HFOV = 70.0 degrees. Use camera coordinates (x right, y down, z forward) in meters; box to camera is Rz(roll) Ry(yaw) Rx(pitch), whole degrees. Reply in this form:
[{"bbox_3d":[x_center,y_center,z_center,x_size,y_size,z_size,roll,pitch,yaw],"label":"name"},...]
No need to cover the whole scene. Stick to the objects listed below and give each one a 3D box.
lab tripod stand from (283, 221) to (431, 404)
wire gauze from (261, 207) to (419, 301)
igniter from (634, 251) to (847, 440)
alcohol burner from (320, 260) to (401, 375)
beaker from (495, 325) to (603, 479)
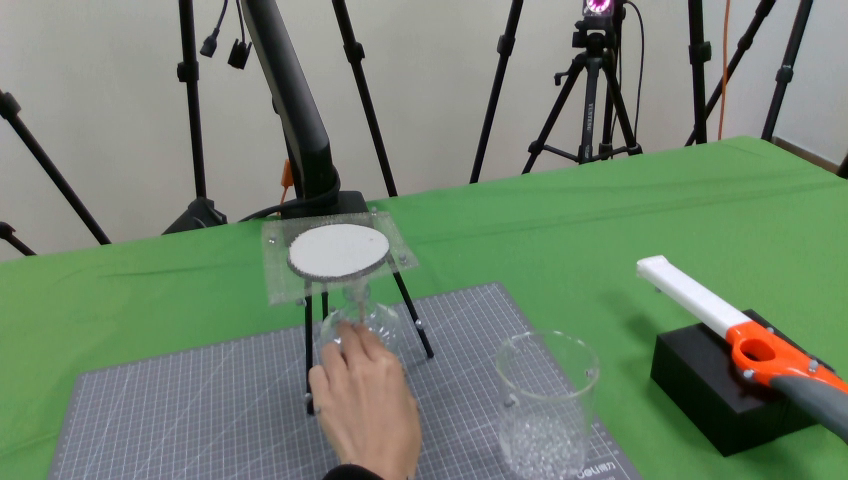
[{"bbox_3d":[-0.069,0.058,0.560,0.148,0.132,0.147,-2,30,1],"label":"lab tripod stand"},{"bbox_3d":[-0.077,0.003,0.521,0.122,0.011,0.123,-10,32,-13],"label":"wire gauze"},{"bbox_3d":[0.270,0.079,0.509,0.057,0.025,0.273,-13,29,-13],"label":"igniter"},{"bbox_3d":[-0.060,0.067,0.563,0.078,0.120,0.077,-1,33,1],"label":"alcohol burner"},{"bbox_3d":[0.090,0.126,0.466,0.074,0.101,0.083,-21,35,-26],"label":"beaker"}]
